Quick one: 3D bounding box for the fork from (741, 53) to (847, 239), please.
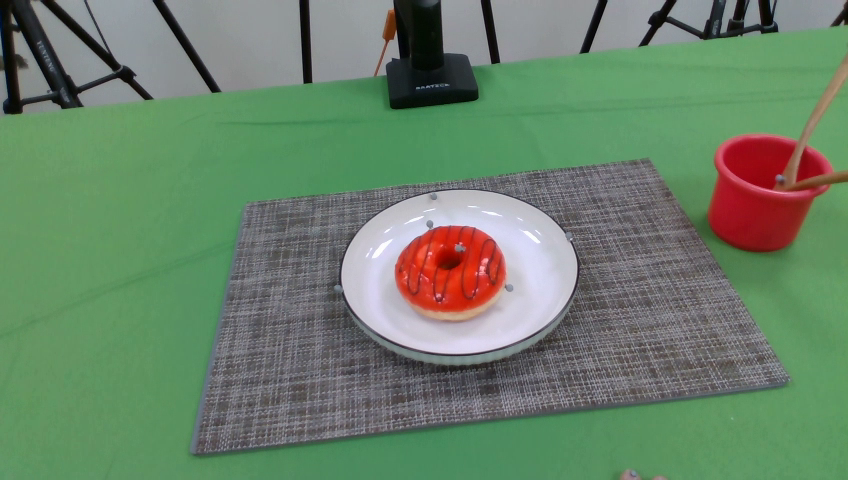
[{"bbox_3d":[0.352,-0.092,0.556,0.019,0.207,0.028,23,6,-23],"label":"fork"}]

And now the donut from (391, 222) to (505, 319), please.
[{"bbox_3d":[0.021,0.026,0.526,0.099,0.049,0.098,-3,45,4],"label":"donut"}]

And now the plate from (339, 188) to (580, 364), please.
[{"bbox_3d":[0.031,0.030,0.538,0.209,0.038,0.207,-3,42,3],"label":"plate"}]

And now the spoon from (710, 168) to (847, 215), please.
[{"bbox_3d":[0.329,-0.046,0.518,0.041,0.193,0.022,-37,96,-22],"label":"spoon"}]
